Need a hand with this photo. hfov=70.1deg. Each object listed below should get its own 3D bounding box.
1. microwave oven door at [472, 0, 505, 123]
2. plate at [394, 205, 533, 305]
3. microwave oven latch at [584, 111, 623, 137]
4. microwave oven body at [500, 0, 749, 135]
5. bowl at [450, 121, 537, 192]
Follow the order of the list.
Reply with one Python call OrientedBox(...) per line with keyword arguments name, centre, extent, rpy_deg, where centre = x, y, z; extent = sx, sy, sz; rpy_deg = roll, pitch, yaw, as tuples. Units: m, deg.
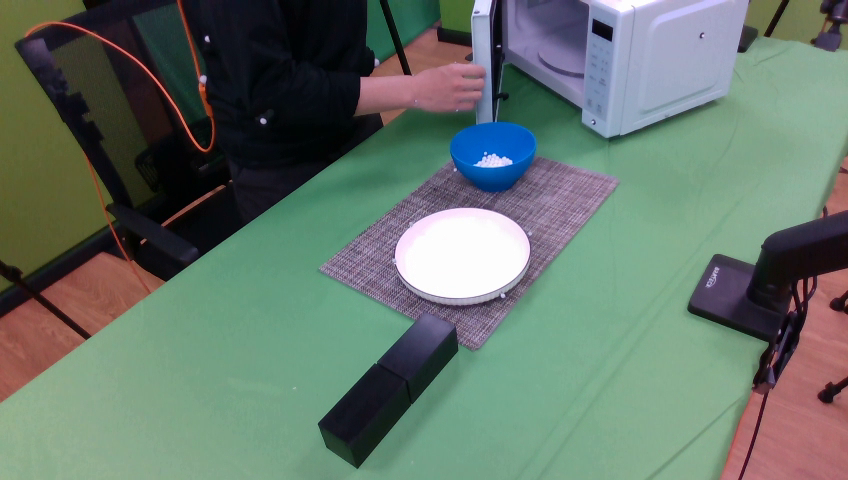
OrientedBox(name="microwave oven door", centre=(0.135, -0.403, 1.225), extent=(0.039, 0.245, 0.354), rpy_deg=(0, 41, 11))
OrientedBox(name="plate", centre=(0.059, 0.025, 0.915), extent=(0.207, 0.039, 0.206), rpy_deg=(-4, 41, 4))
OrientedBox(name="microwave oven latch", centre=(0.337, -0.222, 1.142), extent=(0.030, 0.029, 0.078), rpy_deg=(-21, 42, -14))
OrientedBox(name="microwave oven body", centre=(0.382, -0.444, 1.246), extent=(0.327, 0.261, 0.437), rpy_deg=(-22, 42, -16))
OrientedBox(name="bowl", centre=(0.123, -0.138, 1.064), extent=(0.151, 0.077, 0.150), rpy_deg=(-4, 40, 4))
